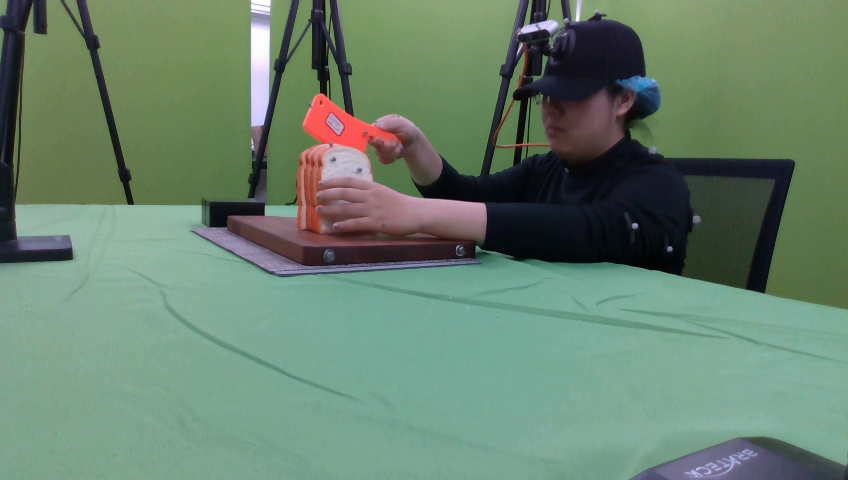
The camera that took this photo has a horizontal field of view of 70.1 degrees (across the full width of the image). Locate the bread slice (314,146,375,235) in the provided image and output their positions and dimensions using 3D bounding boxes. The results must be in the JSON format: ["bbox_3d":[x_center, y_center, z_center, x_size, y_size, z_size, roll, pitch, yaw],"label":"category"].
[{"bbox_3d":[-0.124,-0.076,0.920,0.018,0.134,0.107,4,9,45],"label":"bread slice"}]

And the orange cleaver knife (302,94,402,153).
[{"bbox_3d":[-0.113,-0.175,0.998,0.012,0.077,0.212,2,-8,41],"label":"orange cleaver knife"}]

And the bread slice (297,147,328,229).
[{"bbox_3d":[-0.156,-0.082,0.958,0.019,0.131,0.105,-3,-1,45],"label":"bread slice"}]
